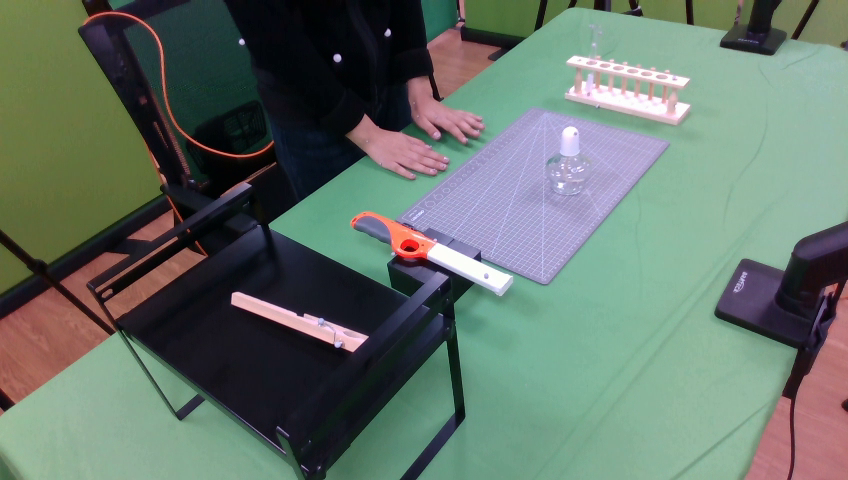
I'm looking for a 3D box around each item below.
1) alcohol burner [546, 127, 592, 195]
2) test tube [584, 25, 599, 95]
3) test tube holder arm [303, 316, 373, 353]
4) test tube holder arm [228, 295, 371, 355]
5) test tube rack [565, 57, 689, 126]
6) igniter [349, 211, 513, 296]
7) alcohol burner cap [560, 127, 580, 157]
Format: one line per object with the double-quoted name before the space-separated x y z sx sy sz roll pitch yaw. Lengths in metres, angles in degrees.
"alcohol burner" 0.246 -0.137 1.023 0.078 0.119 0.077 -4 38 4
"test tube" 0.339 -0.361 1.224 0.017 0.151 0.017 -4 45 4
"test tube holder arm" -0.089 0.094 0.604 0.087 0.015 0.010 14 6 25
"test tube holder arm" -0.132 0.084 0.617 0.177 0.015 0.013 14 6 24
"test tube rack" 0.412 -0.311 1.230 0.240 0.085 0.067 23 49 32
"igniter" 0.003 0.013 0.881 0.274 0.025 0.057 24 52 28
"alcohol burner cap" 0.243 -0.165 1.001 0.034 0.048 0.033 -4 38 3
